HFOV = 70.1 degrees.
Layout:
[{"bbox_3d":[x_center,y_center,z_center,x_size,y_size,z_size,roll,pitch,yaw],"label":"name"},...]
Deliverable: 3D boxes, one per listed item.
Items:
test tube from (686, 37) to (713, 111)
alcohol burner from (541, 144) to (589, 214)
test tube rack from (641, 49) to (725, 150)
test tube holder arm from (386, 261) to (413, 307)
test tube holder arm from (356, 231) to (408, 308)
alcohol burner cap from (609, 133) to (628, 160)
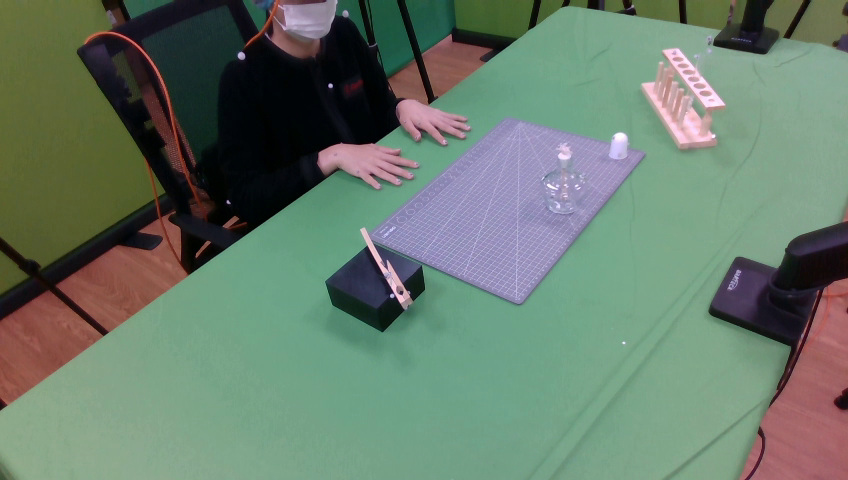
[{"bbox_3d":[0.509,-0.306,1.129,0.017,0.151,0.017,-1,45,1],"label":"test tube"},{"bbox_3d":[0.229,-0.102,0.983,0.078,0.119,0.077,-6,41,5],"label":"alcohol burner"},{"bbox_3d":[0.495,-0.279,1.175,0.067,0.085,0.241,-5,41,3],"label":"test tube rack"},{"bbox_3d":[-0.038,0.060,0.837,0.010,0.015,0.087,-22,41,-14],"label":"test tube holder arm"},{"bbox_3d":[-0.062,0.038,0.868,0.013,0.015,0.177,-24,42,-16],"label":"test tube holder arm"},{"bbox_3d":[0.356,-0.172,1.101,0.034,0.048,0.033,-5,41,5],"label":"alcohol burner cap"}]
